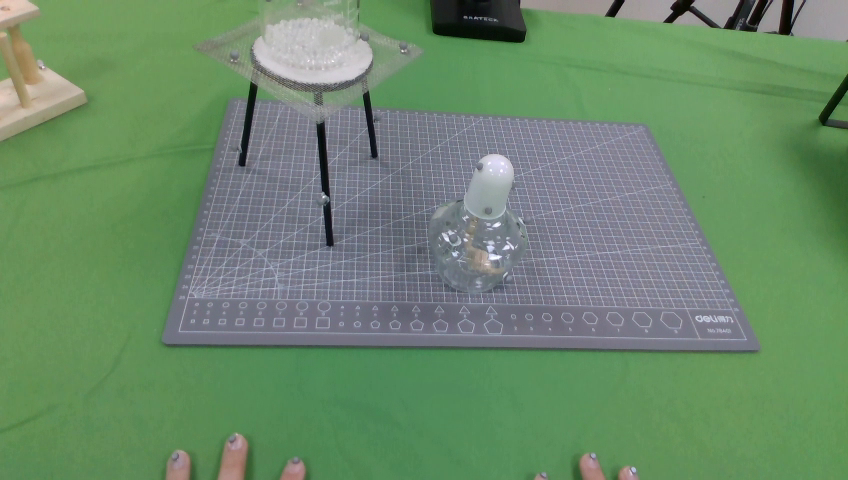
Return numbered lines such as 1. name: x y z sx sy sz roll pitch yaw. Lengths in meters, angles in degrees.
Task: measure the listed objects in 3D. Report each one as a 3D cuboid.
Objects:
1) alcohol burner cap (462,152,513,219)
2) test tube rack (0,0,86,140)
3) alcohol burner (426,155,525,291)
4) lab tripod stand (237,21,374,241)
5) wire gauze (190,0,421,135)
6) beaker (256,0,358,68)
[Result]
1. alcohol burner cap: 0.047 -0.041 0.431 0.034 0.048 0.033 5 51 -5
2. test tube rack: -0.418 -0.113 0.494 0.066 0.086 0.242 31 50 19
3. alcohol burner: 0.042 -0.017 0.458 0.078 0.120 0.077 6 45 -6
4. lab tripod stand: -0.089 -0.094 0.494 0.149 0.132 0.147 6 47 -6
5. wire gauze: -0.084 -0.138 0.447 0.124 0.011 0.121 34 53 16
6. beaker: -0.082 -0.177 0.415 0.073 0.101 0.084 39 54 23
